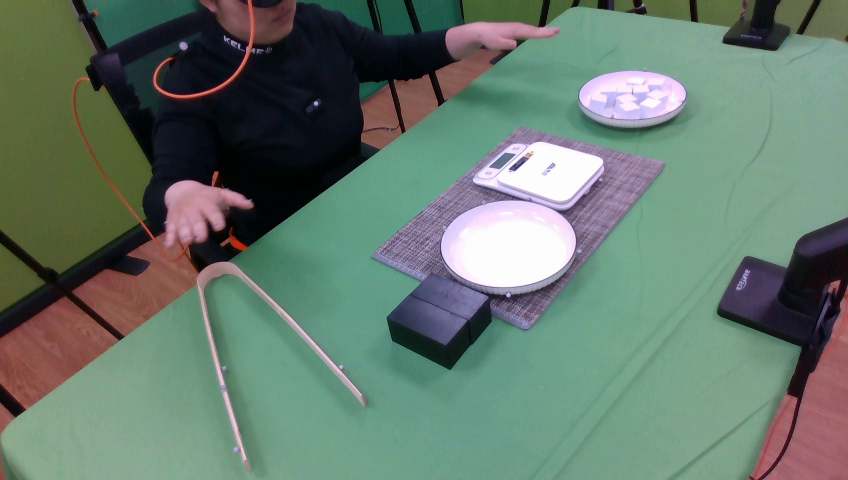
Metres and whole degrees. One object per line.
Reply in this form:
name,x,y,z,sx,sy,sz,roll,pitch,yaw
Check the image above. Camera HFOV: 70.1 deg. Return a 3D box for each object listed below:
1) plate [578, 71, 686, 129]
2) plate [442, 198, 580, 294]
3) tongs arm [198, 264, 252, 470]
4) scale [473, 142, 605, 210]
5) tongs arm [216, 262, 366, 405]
plate,0.416,-0.280,1.221,0.209,0.038,0.208,-5,41,5
plate,0.132,0.012,0.925,0.207,0.039,0.206,-5,40,5
tongs arm,-0.270,0.154,0.840,0.051,0.026,0.381,-24,41,-17
scale,0.202,-0.121,1.074,0.199,0.032,0.149,23,49,33
tongs arm,-0.201,0.121,0.871,0.028,0.028,0.384,-37,46,-24
